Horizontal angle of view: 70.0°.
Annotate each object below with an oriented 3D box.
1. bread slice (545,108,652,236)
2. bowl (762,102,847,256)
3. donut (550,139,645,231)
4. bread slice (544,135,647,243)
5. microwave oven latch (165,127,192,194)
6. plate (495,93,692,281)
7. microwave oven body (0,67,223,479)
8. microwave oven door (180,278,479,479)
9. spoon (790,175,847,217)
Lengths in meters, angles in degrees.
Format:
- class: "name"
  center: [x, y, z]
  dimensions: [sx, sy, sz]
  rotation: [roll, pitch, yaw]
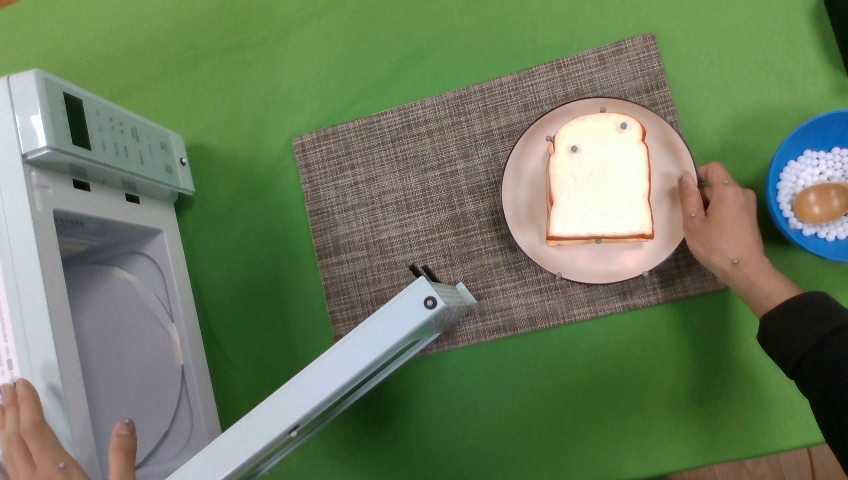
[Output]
- class: "bread slice"
  center: [0.174, -0.069, 0.618]
  dimensions: [0.104, 0.019, 0.131]
  rotation: [-3, 83, 17]
- class: "bowl"
  center: [0.414, -0.055, 0.616]
  dimensions: [0.151, 0.077, 0.151]
  rotation: [-1, 85, 10]
- class: "donut"
  center: [0.183, -0.058, 0.642]
  dimensions: [0.099, 0.048, 0.099]
  rotation: [0, 86, 6]
- class: "bread slice"
  center: [0.183, -0.064, 0.674]
  dimensions: [0.107, 0.018, 0.134]
  rotation: [-6, 83, 10]
- class: "microwave oven latch"
  center: [-0.315, -0.099, 0.756]
  dimensions: [0.030, 0.029, 0.079]
  rotation: [-17, 83, 8]
- class: "plate"
  center: [0.185, -0.057, 0.674]
  dimensions: [0.207, 0.039, 0.207]
  rotation: [-1, 86, 12]
- class: "microwave oven body"
  center: [-0.429, 0.103, 0.664]
  dimensions: [0.326, 0.261, 0.440]
  rotation: [-16, 83, 8]
- class: "microwave oven door"
  center: [-0.106, 0.157, 0.595]
  dimensions: [0.356, 0.245, 0.039]
  rotation: [-39, 79, 5]
- class: "spoon"
  center: [0.457, -0.066, 0.576]
  dimensions: [0.193, 0.022, 0.041]
  rotation: [-21, 76, 30]
